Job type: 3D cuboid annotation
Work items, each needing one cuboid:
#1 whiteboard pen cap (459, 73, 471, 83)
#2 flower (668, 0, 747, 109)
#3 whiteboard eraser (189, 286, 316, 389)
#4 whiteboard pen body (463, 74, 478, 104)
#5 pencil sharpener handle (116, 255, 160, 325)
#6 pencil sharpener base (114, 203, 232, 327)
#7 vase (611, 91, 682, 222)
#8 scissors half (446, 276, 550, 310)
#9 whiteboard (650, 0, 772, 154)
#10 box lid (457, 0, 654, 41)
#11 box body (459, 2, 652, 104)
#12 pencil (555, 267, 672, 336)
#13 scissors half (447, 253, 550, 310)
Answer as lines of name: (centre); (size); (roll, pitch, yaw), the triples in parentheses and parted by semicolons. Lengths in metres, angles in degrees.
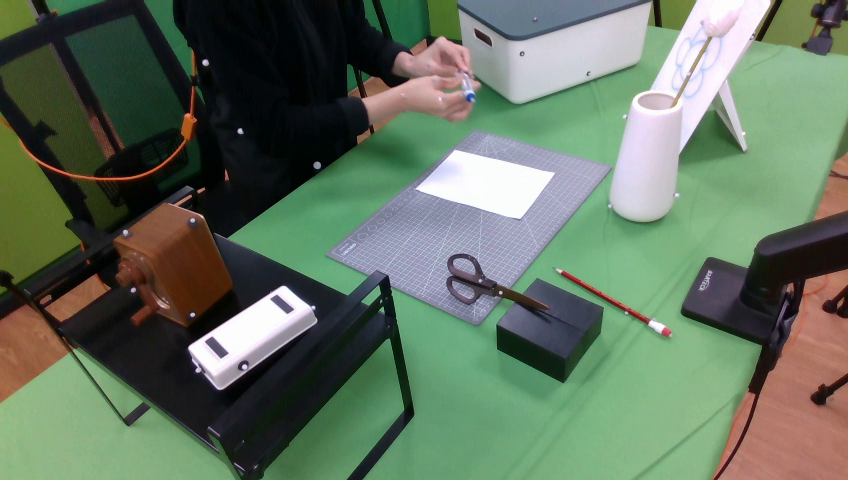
whiteboard pen cap: (0.073, -0.286, 1.068); (0.018, 0.018, 0.033); (-11, 18, -5)
flower: (0.354, -0.187, 0.879); (0.038, 0.362, 0.044); (31, 48, 14)
whiteboard eraser: (-0.166, 0.096, 0.593); (0.113, 0.042, 0.055); (-36, 46, -29)
whiteboard pen body: (0.076, -0.258, 1.017); (0.017, 0.017, 0.140); (-6, 32, 1)
pencil sharpener handle: (-0.286, 0.050, 0.594); (0.035, 0.068, 0.031); (7, 41, 35)
pencil sharpener base: (-0.262, 0.029, 0.635); (0.061, 0.107, 0.077); (18, 47, 26)
vase: (0.348, -0.125, 0.935); (0.098, 0.201, 0.097); (-3, 40, 3)
scissors half: (0.097, 0.077, 0.826); (0.174, 0.040, 0.013); (6, 13, 44)
whiteboard: (0.543, -0.298, 1.076); (0.144, 0.305, 0.216); (12, 40, -7)
box lid: (0.285, -0.522, 1.323); (0.373, 0.015, 0.261); (-22, 43, -16)
box body: (0.291, -0.465, 1.371); (0.365, 0.161, 0.252); (-22, 42, -16)
pencil: (0.260, 0.082, 0.850); (0.012, 0.012, 0.192); (-33, 46, -27)
scissors half: (0.098, 0.058, 0.821); (0.173, 0.040, 0.013); (27, 32, 36)
